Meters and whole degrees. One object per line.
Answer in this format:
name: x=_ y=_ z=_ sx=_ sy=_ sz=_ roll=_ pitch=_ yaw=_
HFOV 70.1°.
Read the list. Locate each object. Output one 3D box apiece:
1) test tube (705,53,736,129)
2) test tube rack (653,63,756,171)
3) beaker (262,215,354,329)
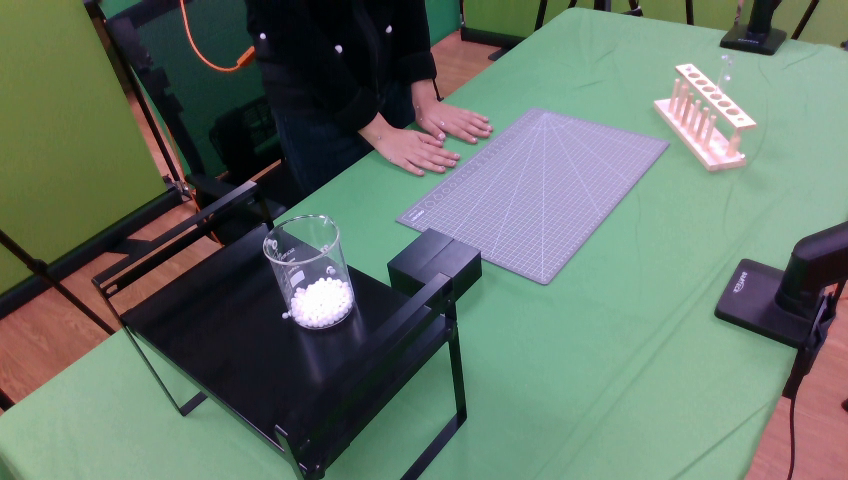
test tube: x=0.525 y=-0.260 z=1.074 sx=0.017 sy=0.151 sz=0.017 roll=-2 pitch=44 yaw=3
test tube rack: x=0.510 y=-0.233 z=1.120 sx=0.067 sy=0.085 sz=0.241 roll=-9 pitch=41 yaw=-1
beaker: x=-0.112 y=0.034 z=0.616 sx=0.073 sy=0.101 sz=0.084 roll=13 pitch=44 yaw=23
